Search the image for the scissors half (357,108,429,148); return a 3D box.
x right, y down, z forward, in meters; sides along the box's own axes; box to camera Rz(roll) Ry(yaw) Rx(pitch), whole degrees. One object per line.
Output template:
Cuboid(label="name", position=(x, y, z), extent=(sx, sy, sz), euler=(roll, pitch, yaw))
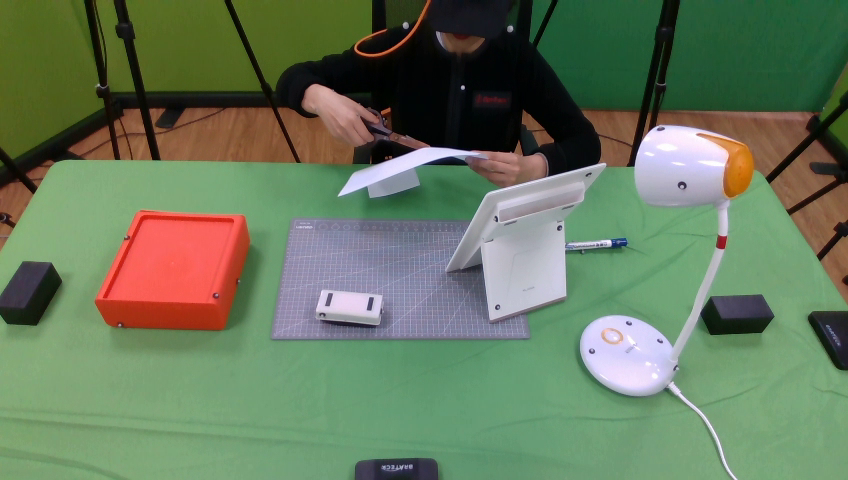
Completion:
Cuboid(label="scissors half", position=(-0.063, -0.227, 1.240), extent=(0.174, 0.013, 0.040), euler=(32, 96, 15))

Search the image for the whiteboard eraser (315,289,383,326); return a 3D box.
Cuboid(label="whiteboard eraser", position=(-0.130, 0.119, 1.054), extent=(0.113, 0.042, 0.055), euler=(6, 47, 1))

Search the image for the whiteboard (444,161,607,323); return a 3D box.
Cuboid(label="whiteboard", position=(0.186, 0.025, 1.029), extent=(0.217, 0.306, 0.143), euler=(-14, 68, -18))

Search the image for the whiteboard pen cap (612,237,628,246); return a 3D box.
Cuboid(label="whiteboard pen cap", position=(0.390, 0.004, 1.215), extent=(0.033, 0.018, 0.018), euler=(-7, 47, -2))

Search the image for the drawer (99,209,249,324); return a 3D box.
Cuboid(label="drawer", position=(-0.435, 0.044, 1.081), extent=(0.194, 0.073, 0.210), euler=(3, 46, -2))

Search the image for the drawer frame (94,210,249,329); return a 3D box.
Cuboid(label="drawer frame", position=(-0.434, 0.048, 1.076), extent=(0.202, 0.083, 0.212), euler=(2, 47, -3))

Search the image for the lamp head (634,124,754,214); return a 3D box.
Cuboid(label="lamp head", position=(0.351, -0.089, 0.775), extent=(0.112, 0.113, 0.122), euler=(-30, 30, -28))

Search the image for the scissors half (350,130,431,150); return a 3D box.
Cuboid(label="scissors half", position=(-0.070, -0.205, 1.241), extent=(0.175, 0.040, 0.013), euler=(3, 3, 18))

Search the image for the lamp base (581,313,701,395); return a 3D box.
Cuboid(label="lamp base", position=(0.361, 0.144, 0.972), extent=(0.178, 0.181, 0.160), euler=(34, 53, 23))

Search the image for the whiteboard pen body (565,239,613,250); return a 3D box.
Cuboid(label="whiteboard pen body", position=(0.331, 0.008, 1.211), extent=(0.141, 0.017, 0.017), euler=(-5, 47, -4))
